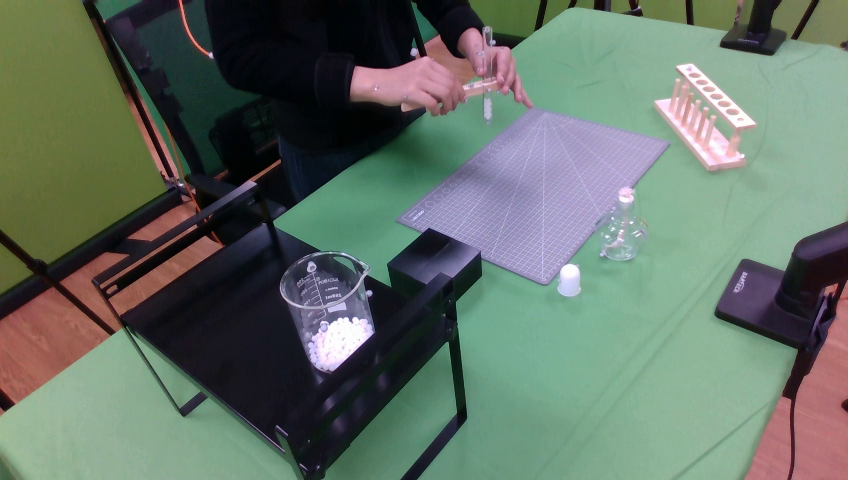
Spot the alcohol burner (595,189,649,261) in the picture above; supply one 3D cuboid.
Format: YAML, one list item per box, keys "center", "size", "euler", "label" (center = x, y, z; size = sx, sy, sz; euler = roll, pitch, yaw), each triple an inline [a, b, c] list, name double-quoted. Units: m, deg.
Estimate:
- center: [0.294, -0.028, 0.894]
  size: [0.078, 0.119, 0.077]
  euler: [-4, 43, 4]
  label: "alcohol burner"

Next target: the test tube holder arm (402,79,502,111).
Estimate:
- center: [0.046, -0.228, 0.945]
  size: [0.179, 0.015, 0.013]
  euler: [-19, 36, -24]
  label: "test tube holder arm"

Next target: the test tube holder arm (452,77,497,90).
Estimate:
- center: [0.081, -0.245, 0.969]
  size: [0.088, 0.015, 0.010]
  euler: [-24, 38, -30]
  label: "test tube holder arm"

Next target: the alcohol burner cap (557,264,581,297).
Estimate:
- center: [0.208, 0.055, 0.866]
  size: [0.034, 0.048, 0.033]
  euler: [-4, 41, 4]
  label: "alcohol burner cap"

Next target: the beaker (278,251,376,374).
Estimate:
- center: [-0.084, 0.070, 0.569]
  size: [0.084, 0.101, 0.073]
  euler: [-18, 42, -13]
  label: "beaker"

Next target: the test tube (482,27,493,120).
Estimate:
- center: [0.102, -0.263, 0.967]
  size: [0.017, 0.151, 0.017]
  euler: [-3, 35, 2]
  label: "test tube"

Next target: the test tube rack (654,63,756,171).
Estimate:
- center: [0.510, -0.233, 1.120]
  size: [0.067, 0.085, 0.241]
  euler: [-8, 41, -1]
  label: "test tube rack"
